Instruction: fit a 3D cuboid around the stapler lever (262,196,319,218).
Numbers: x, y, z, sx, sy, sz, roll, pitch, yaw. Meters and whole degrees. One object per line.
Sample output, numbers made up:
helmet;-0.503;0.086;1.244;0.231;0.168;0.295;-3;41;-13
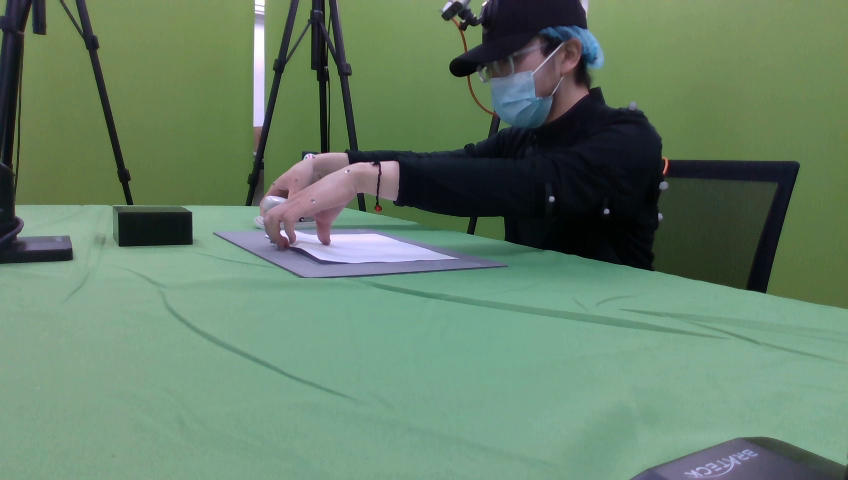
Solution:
stapler lever;-0.261;-0.064;1.188;0.119;0.040;0.026;-2;35;-42

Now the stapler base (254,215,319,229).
stapler base;-0.270;-0.043;1.197;0.131;0.024;0.041;-2;35;-42
